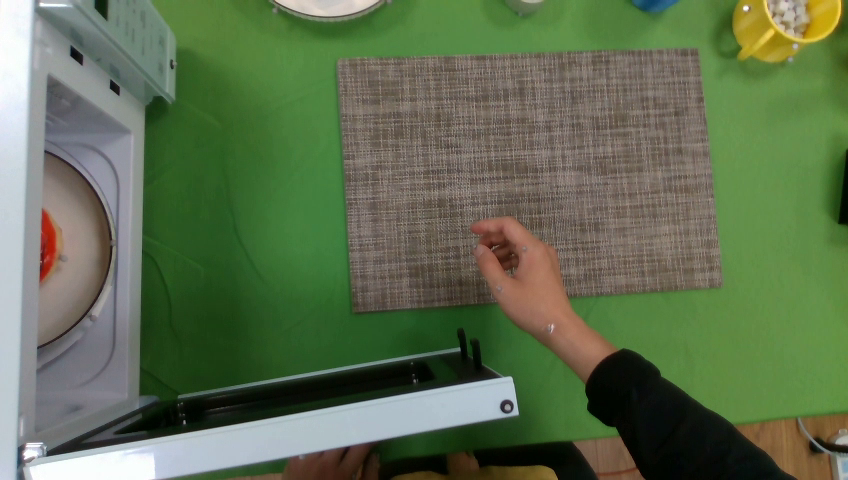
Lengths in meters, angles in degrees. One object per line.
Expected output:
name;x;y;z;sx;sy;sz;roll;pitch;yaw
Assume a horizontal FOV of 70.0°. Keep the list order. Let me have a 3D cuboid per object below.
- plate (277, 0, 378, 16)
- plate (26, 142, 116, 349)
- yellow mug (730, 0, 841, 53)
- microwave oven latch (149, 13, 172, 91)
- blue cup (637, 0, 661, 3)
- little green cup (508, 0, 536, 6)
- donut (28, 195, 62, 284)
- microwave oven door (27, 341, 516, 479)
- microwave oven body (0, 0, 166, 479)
plate;-0.115;-0.360;0.709;0.208;0.039;0.207;0;86;-5
plate;-0.409;0.006;0.596;0.209;0.038;0.208;0;86;-6
yellow mug;0.430;-0.278;0.739;0.100;0.064;0.131;44;85;-1
microwave oven latch;-0.293;-0.206;0.664;0.030;0.029;0.079;1;87;-5
blue cup;0.284;-0.329;0.712;0.093;0.100;0.092;0;88;-6
little green cup;0.121;-0.314;0.728;0.061;0.038;0.061;0;85;-5
donut;-0.405;0.000;0.585;0.099;0.048;0.099;0;87;-4
microwave oven door;-0.113;0.149;0.556;0.356;0.244;0.039;-9;86;-6
microwave oven body;-0.429;-0.035;0.544;0.326;0.260;0.441;-1;87;-6
